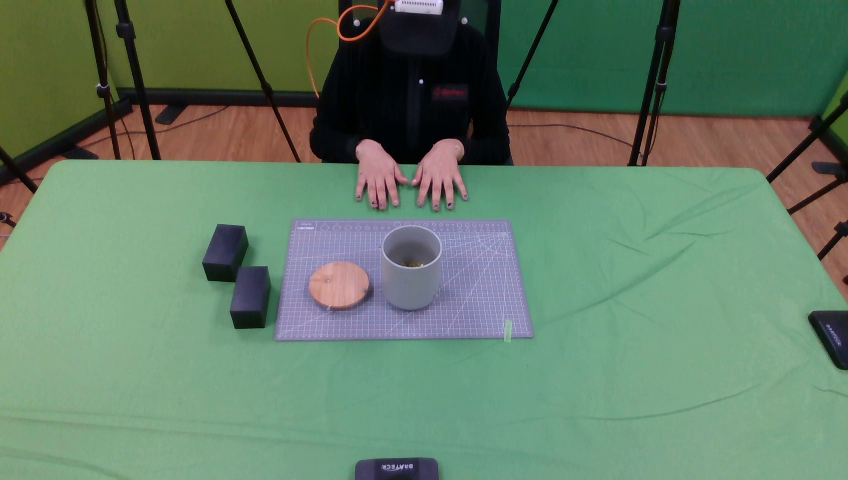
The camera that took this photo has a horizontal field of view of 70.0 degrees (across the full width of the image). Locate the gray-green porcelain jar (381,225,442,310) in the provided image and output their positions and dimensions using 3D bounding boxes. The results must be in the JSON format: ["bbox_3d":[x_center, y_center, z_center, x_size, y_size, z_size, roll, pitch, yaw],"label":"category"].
[{"bbox_3d":[-0.023,0.053,1.068,0.106,0.127,0.105,2,46,-2],"label":"gray-green porcelain jar"}]

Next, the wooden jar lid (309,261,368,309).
[{"bbox_3d":[-0.155,0.084,1.104,0.108,0.021,0.107,3,47,-3],"label":"wooden jar lid"}]
